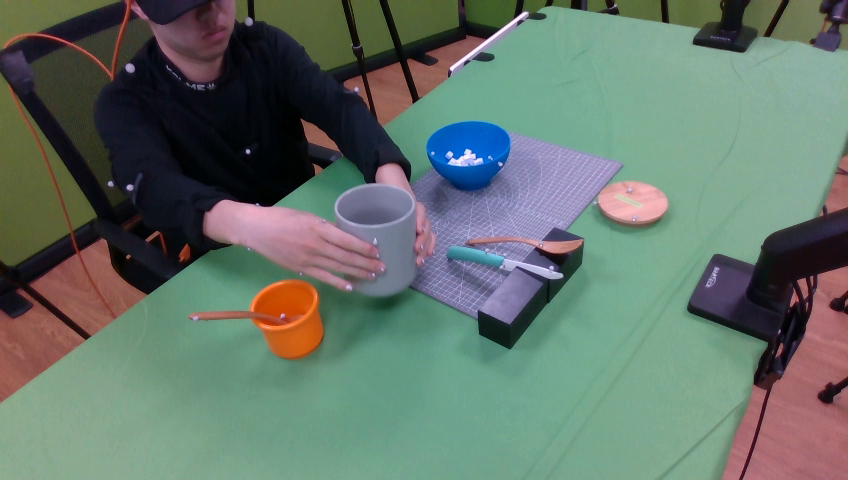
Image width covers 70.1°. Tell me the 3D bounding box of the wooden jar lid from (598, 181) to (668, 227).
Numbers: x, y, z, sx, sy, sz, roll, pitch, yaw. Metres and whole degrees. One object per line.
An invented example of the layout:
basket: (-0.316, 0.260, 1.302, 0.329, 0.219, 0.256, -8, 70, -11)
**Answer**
wooden jar lid: (0.340, -0.058, 0.988, 0.108, 0.021, 0.108, -5, 41, 5)

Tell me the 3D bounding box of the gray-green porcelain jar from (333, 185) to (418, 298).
gray-green porcelain jar: (-0.062, 0.006, 0.810, 0.106, 0.127, 0.105, -1, 36, 1)

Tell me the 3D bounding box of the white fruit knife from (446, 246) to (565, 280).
white fruit knife: (0.111, 0.033, 0.868, 0.205, 0.027, 0.016, 11, 43, 40)

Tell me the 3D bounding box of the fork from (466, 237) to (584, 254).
fork: (0.142, 0.005, 0.894, 0.205, 0.019, 0.028, 4, 43, 41)

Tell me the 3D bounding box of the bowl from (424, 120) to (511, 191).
bowl: (0.081, -0.141, 1.074, 0.151, 0.077, 0.150, -4, 41, 4)

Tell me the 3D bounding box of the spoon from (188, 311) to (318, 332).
spoon: (-0.216, 0.102, 0.783, 0.041, 0.195, 0.021, 25, 94, 39)
